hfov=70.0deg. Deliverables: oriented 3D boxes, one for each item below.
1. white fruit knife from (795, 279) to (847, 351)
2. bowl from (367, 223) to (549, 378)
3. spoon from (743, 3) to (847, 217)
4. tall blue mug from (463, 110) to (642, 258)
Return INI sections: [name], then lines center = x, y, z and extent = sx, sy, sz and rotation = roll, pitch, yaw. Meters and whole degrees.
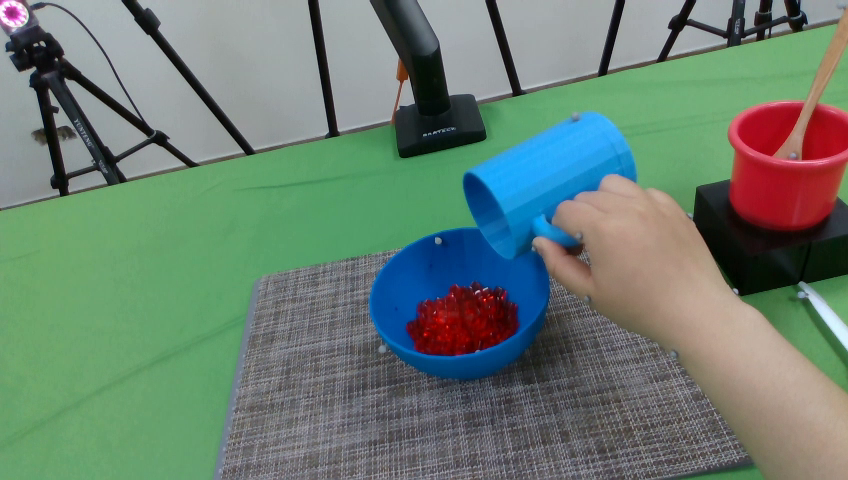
[white fruit knife]
center = 0.332, 0.098, 0.445
extent = 0.027, 0.016, 0.205
rotation = 10, 36, -13
[bowl]
center = 0.034, 0.064, 0.517
extent = 0.151, 0.077, 0.150
rotation = -8, 40, 8
[spoon]
center = 0.322, -0.109, 0.508
extent = 0.041, 0.022, 0.194
rotation = 26, 99, 40
[tall blue mug]
center = 0.099, -0.042, 0.450
extent = 0.108, 0.078, 0.107
rotation = -27, 9, -12
